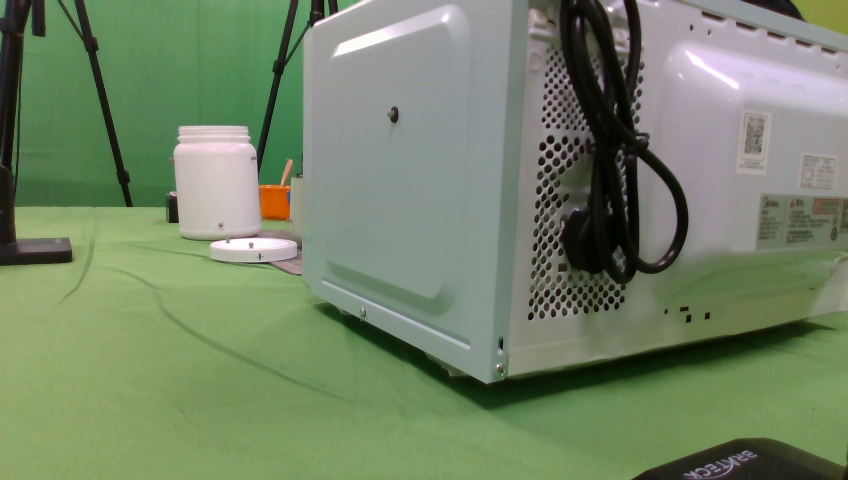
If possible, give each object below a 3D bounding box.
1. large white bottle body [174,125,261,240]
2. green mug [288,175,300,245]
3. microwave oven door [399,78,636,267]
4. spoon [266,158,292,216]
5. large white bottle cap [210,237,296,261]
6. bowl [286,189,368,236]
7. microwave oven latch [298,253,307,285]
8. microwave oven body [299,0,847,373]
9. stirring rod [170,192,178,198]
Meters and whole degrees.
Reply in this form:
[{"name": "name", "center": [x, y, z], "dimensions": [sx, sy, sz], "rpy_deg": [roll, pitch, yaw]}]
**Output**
[{"name": "large white bottle body", "center": [-0.349, -0.100, 1.025], "dimensions": [0.131, 0.184, 0.130], "rpy_deg": [-1, 9, 0]}, {"name": "green mug", "center": [-0.151, -0.049, 0.940], "dimensions": [0.092, 0.105, 0.126], "rpy_deg": [8, 13, 40]}, {"name": "microwave oven door", "center": [0.117, -0.103, 0.875], "dimensions": [0.354, 0.243, 0.039], "rpy_deg": [7, 9, 35]}, {"name": "spoon", "center": [-0.334, -0.127, 1.423], "dimensions": [0.041, 0.193, 0.022], "rpy_deg": [-1, -37, 8]}, {"name": "large white bottle cap", "center": [-0.236, 0.012, 0.839], "dimensions": [0.115, 0.018, 0.115], "rpy_deg": [1, 8, 0]}, {"name": "bowl", "center": [-0.179, -0.051, 1.115], "dimensions": [0.151, 0.077, 0.151], "rpy_deg": [3, 8, 0]}, {"name": "microwave oven latch", "center": [-0.081, 0.027, 0.583], "dimensions": [0.079, 0.029, 0.030], "rpy_deg": [-2, 7, -33]}, {"name": "microwave oven body", "center": [0.151, -0.055, 0.543], "dimensions": [0.444, 0.260, 0.324], "rpy_deg": [-1, 7, -33]}, {"name": "stirring rod", "center": [-0.465, -0.098, 1.283], "dimensions": [0.014, 0.006, 0.177], "rpy_deg": [42, 21, 17]}]
